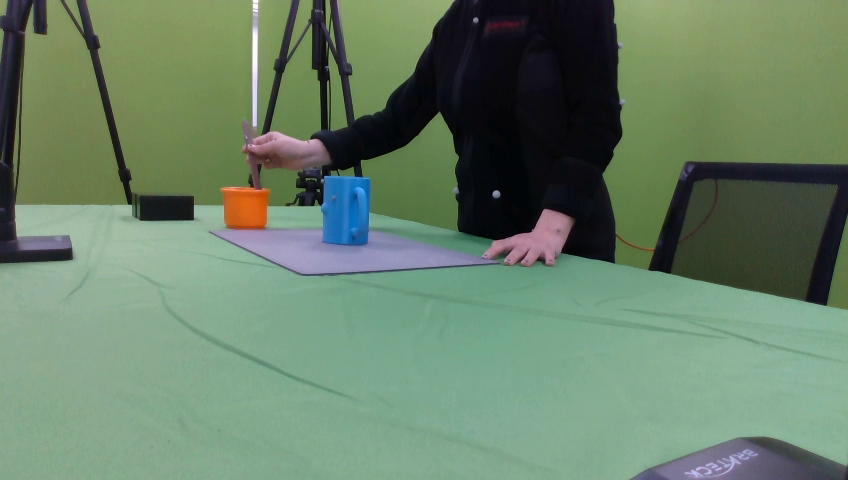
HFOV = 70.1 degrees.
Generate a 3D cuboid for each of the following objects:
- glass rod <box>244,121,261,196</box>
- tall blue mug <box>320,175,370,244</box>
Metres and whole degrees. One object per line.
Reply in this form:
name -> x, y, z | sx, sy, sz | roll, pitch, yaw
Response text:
glass rod -> -0.332, -0.160, 1.167 | 0.008, 0.199, 0.008 | -14, -33, -9
tall blue mug -> -0.117, -0.049, 0.991 | 0.106, 0.108, 0.078 | 7, 8, 33
